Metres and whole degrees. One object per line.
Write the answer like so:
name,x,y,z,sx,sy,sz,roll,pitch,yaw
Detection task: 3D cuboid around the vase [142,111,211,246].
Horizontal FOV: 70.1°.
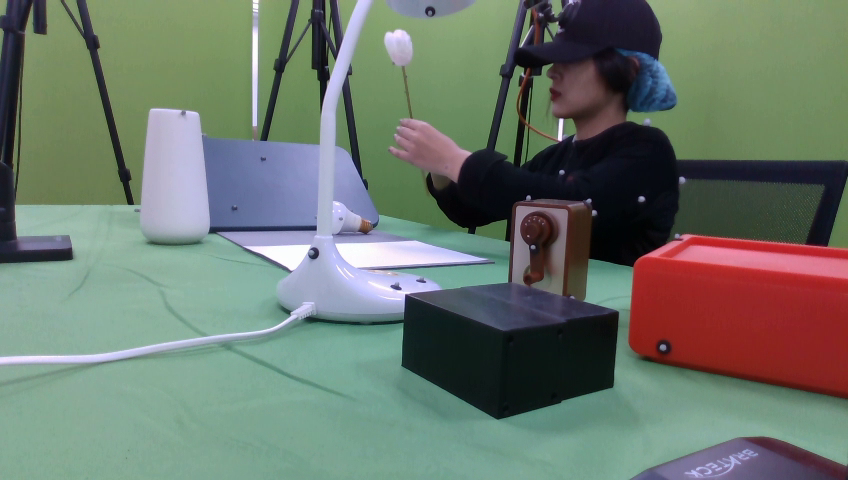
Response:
vase,-0.378,-0.093,0.920,0.098,0.200,0.098,2,9,0

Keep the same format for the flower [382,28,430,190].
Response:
flower,-0.021,-0.229,1.145,0.044,0.362,0.038,0,47,14

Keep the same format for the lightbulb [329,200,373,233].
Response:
lightbulb,-0.143,-0.036,1.109,0.108,0.059,0.059,15,0,-28

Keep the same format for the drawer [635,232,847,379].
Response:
drawer,0.292,0.045,0.488,0.193,0.073,0.213,7,9,30

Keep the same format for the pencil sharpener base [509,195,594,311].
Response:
pencil sharpener base,0.126,0.011,0.601,0.061,0.107,0.077,7,9,30

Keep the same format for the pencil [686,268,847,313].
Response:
pencil,0.308,0.045,0.515,0.194,0.012,0.012,13,5,-12

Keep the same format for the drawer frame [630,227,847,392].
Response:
drawer frame,0.292,0.043,0.484,0.201,0.082,0.214,7,9,29

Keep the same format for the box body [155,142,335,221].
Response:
box body,-0.410,-0.135,1.386,0.366,0.160,0.253,-2,9,-29

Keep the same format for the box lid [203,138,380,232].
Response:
box lid,-0.286,-0.112,1.202,0.373,0.015,0.262,-2,46,-30

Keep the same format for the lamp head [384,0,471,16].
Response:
lamp head,-0.001,-0.301,0.599,0.112,0.112,0.123,4,-30,14

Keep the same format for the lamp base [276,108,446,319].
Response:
lamp base,-0.061,-0.027,0.556,0.160,0.180,0.180,4,10,20

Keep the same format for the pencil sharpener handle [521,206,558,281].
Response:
pencil sharpener handle,0.102,0.003,0.555,0.036,0.067,0.031,0,5,31
